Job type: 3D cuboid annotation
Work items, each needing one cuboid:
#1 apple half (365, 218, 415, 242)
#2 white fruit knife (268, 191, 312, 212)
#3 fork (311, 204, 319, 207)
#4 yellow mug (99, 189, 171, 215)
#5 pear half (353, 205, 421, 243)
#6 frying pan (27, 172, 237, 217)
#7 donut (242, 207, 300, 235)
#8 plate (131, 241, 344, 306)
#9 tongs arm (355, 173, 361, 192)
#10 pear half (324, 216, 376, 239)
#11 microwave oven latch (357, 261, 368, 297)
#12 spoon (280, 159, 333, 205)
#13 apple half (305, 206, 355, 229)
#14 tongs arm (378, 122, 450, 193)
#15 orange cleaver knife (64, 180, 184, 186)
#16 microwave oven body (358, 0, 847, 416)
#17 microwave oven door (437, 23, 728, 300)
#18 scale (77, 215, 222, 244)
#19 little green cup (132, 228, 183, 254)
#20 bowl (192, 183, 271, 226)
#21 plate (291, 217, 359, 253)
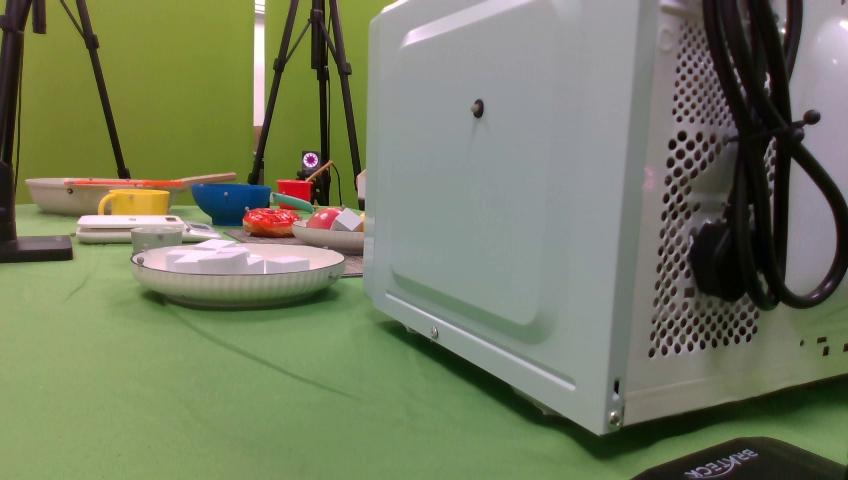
[{"bbox_3d":[-0.053,-0.018,0.967,0.081,0.033,0.081,-5,12,1],"label":"apple half"},{"bbox_3d":[-0.364,-0.105,1.464,0.208,0.027,0.016,15,-1,-34],"label":"white fruit knife"},{"bbox_3d":[-0.356,-0.105,1.526,0.208,0.018,0.028,16,-5,-41],"label":"fork"},{"bbox_3d":[-0.519,-0.055,1.080,0.099,0.064,0.131,7,9,26],"label":"yellow mug"},{"bbox_3d":[-0.051,-0.024,0.905,0.110,0.056,0.076,0,-1,-37],"label":"pear half"},{"bbox_3d":[-0.624,-0.118,1.387,0.305,0.102,0.490,8,18,32],"label":"frying pan"},{"bbox_3d":[-0.263,-0.032,1.039,0.099,0.048,0.099,4,10,0],"label":"donut"},{"bbox_3d":[-0.187,0.033,0.625,0.208,0.039,0.207,2,7,0],"label":"plate"},{"bbox_3d":[-0.041,-0.160,1.096,0.028,0.028,0.388,0,23,19],"label":"tongs arm"},{"bbox_3d":[-0.119,-0.023,0.996,0.088,0.031,0.070,-4,23,-28],"label":"pear half"},{"bbox_3d":[-0.019,0.033,0.531,0.079,0.029,0.030,-1,7,-27],"label":"microwave oven latch"},{"bbox_3d":[-0.317,-0.159,1.640,0.194,0.022,0.041,-49,32,-20],"label":"spoon"},{"bbox_3d":[-0.138,-0.025,0.916,0.081,0.053,0.074,0,10,-43],"label":"apple half"},{"bbox_3d":[-0.017,-0.158,1.089,0.050,0.026,0.385,5,24,21],"label":"tongs arm"},{"bbox_3d":[-0.595,-0.114,1.212,0.212,0.012,0.077,-4,6,-41],"label":"orange cleaver knife"},{"bbox_3d":[0.211,-0.047,0.475,0.444,0.260,0.324,-1,7,-28],"label":"microwave oven body"},{"bbox_3d":[0.180,-0.072,0.621,0.358,0.243,0.039,-2,8,-29],"label":"microwave oven door"},{"bbox_3d":[-0.434,-0.019,0.963,0.202,0.031,0.148,-1,9,-27],"label":"scale"},{"bbox_3d":[-0.342,0.006,0.779,0.061,0.038,0.061,2,8,0],"label":"little green cup"},{"bbox_3d":[-0.382,-0.071,1.202,0.151,0.077,0.151,3,7,0],"label":"bowl"},{"bbox_3d":[-0.103,-0.009,0.945,0.209,0.038,0.209,2,7,0],"label":"plate"}]
